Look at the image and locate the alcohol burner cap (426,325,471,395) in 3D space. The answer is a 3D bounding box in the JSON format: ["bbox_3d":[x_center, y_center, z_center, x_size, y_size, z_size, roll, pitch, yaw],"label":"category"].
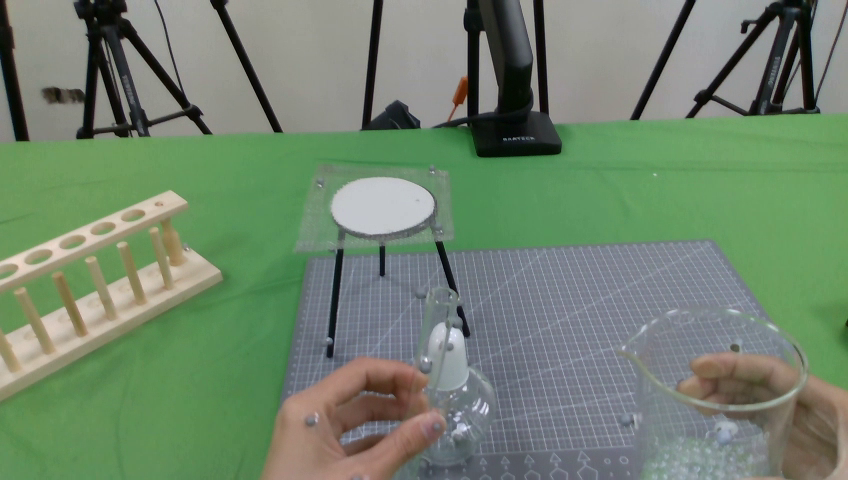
[{"bbox_3d":[0.016,0.080,0.418,0.034,0.048,0.033,-2,36,2],"label":"alcohol burner cap"}]

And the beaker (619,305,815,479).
[{"bbox_3d":[0.141,0.095,0.306,0.083,0.101,0.073,4,31,23],"label":"beaker"}]

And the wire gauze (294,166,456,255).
[{"bbox_3d":[-0.037,-0.029,0.499,0.121,0.011,0.124,0,37,-1],"label":"wire gauze"}]

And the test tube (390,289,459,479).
[{"bbox_3d":[-0.002,0.091,0.335,0.017,0.151,0.017,9,29,-4],"label":"test tube"}]

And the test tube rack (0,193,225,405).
[{"bbox_3d":[-0.315,0.050,0.558,0.066,0.086,0.242,28,45,34],"label":"test tube rack"}]

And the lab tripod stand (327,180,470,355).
[{"bbox_3d":[-0.027,0.024,0.540,0.148,0.132,0.147,1,35,0],"label":"lab tripod stand"}]

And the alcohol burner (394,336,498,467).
[{"bbox_3d":[0.016,0.109,0.439,0.078,0.120,0.077,0,38,0],"label":"alcohol burner"}]
